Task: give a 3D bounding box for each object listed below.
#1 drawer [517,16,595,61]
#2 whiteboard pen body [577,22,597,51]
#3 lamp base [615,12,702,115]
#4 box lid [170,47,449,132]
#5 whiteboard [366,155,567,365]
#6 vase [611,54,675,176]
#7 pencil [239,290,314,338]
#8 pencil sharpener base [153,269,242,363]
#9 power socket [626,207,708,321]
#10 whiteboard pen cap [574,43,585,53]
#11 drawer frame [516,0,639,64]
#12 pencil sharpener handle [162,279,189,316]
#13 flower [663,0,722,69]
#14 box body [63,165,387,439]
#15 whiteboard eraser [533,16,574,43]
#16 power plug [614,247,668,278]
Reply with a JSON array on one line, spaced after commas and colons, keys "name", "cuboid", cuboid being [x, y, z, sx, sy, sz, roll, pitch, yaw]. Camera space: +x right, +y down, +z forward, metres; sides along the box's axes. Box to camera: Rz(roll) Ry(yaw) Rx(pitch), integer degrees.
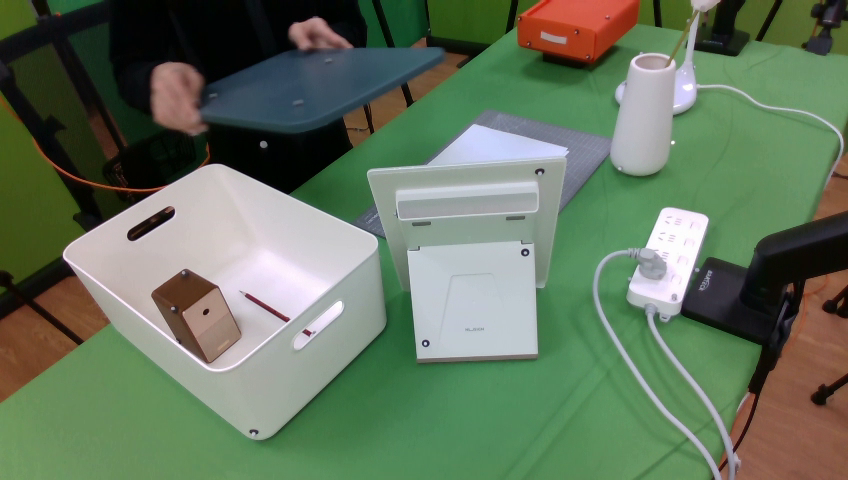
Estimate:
[{"name": "drawer", "cuboid": [0.353, -0.505, 1.404, 0.193, 0.073, 0.212, 25, 50, 33]}, {"name": "whiteboard pen body", "cuboid": [0.372, -0.468, 1.390, 0.017, 0.017, 0.141, 14, 47, 23]}, {"name": "lamp base", "cuboid": [0.484, -0.364, 1.211, 0.180, 0.181, 0.159, -15, 41, -14]}, {"name": "box lid", "cuboid": [-0.170, -0.221, 0.856, 0.368, 0.015, 0.264, 15, 41, 41]}, {"name": "whiteboard", "cuboid": [0.059, 0.049, 0.738, 0.217, 0.307, 0.143, -3, 60, 5]}, {"name": "vase", "cuboid": [0.377, -0.209, 1.031, 0.098, 0.201, 0.097, -3, 40, 3]}, {"name": "pencil", "cuboid": [-0.207, 0.111, 0.873, 0.192, 0.012, 0.012, 24, 49, 31]}, {"name": "pencil sharpener base", "cuboid": [-0.308, 0.103, 0.824, 0.076, 0.107, 0.061, 22, 50, 32]}, {"name": "power socket", "cuboid": [0.359, 0.025, 0.886, 0.072, 0.033, 0.227, 16, 46, 26]}, {"name": "whiteboard pen cap", "cuboid": [0.346, -0.430, 1.350, 0.018, 0.018, 0.033, 16, 38, 25]}, {"name": "drawer frame", "cuboid": [0.356, -0.507, 1.410, 0.200, 0.083, 0.214, 25, 51, 32]}, {"name": "pencil sharpener handle", "cuboid": [-0.350, 0.077, 0.842, 0.030, 0.068, 0.036, 22, 47, 32]}, {"name": "flower", "cuboid": [0.379, -0.261, 0.965, 0.044, 0.362, 0.038, 21, 53, 5]}, {"name": "box body", "cuboid": [-0.257, 0.068, 0.824, 0.361, 0.161, 0.255, 24, 49, 31]}, {"name": "whiteboard eraser", "cuboid": [0.305, -0.493, 1.422, 0.055, 0.042, 0.113, 27, 43, 25]}, {"name": "power plug", "cuboid": [0.306, 0.031, 0.851, 0.072, 0.053, 0.035, 24, 49, 33]}]
